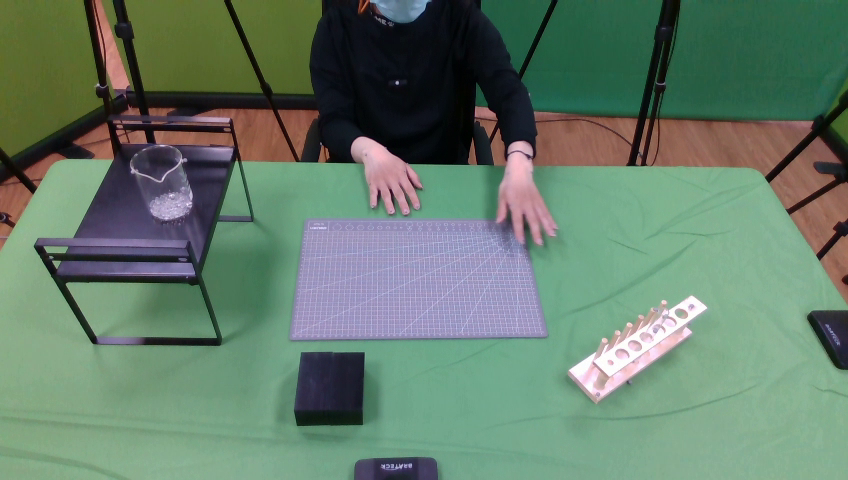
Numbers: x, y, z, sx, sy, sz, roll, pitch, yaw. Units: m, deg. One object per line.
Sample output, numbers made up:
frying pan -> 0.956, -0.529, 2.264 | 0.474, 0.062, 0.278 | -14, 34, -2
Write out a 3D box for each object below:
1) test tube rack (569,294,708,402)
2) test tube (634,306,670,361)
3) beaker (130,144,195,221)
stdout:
test tube rack -> 0.360, 0.167, 1.015 | 0.242, 0.085, 0.066 | -25, 52, -25
test tube -> 0.358, 0.151, 0.960 | 0.017, 0.151, 0.017 | 1, 51, -1
beaker -> -0.403, -0.085, 0.944 | 0.074, 0.101, 0.083 | -15, 49, -17
